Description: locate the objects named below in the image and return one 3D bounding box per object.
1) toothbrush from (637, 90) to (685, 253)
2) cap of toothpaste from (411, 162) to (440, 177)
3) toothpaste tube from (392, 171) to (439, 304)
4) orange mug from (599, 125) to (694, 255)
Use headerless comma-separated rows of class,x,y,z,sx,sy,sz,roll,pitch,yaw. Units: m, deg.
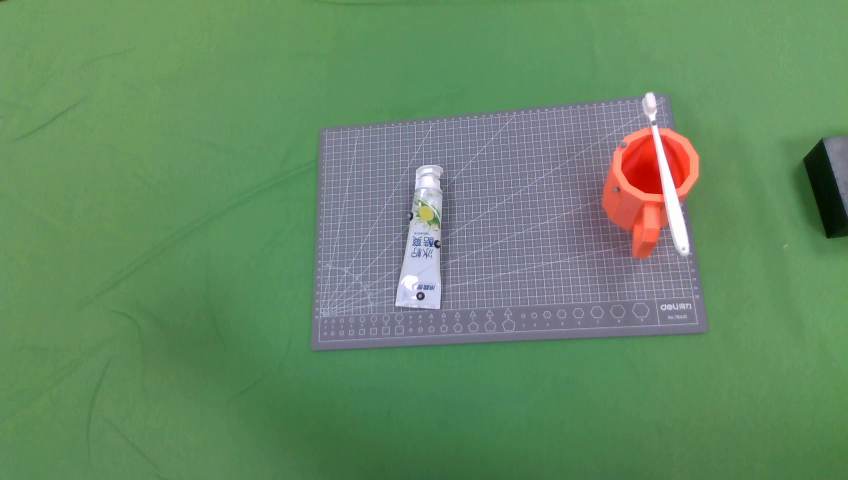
toothbrush,0.243,-0.074,0.619,0.014,0.017,0.180,-6,71,3
cap of toothpaste,0.002,-0.085,0.748,0.037,0.037,0.011,-9,68,6
toothpaste tube,-0.006,-0.005,0.730,0.055,0.035,0.164,1,76,15
orange mug,0.242,-0.051,0.668,0.083,0.101,0.125,4,68,11
